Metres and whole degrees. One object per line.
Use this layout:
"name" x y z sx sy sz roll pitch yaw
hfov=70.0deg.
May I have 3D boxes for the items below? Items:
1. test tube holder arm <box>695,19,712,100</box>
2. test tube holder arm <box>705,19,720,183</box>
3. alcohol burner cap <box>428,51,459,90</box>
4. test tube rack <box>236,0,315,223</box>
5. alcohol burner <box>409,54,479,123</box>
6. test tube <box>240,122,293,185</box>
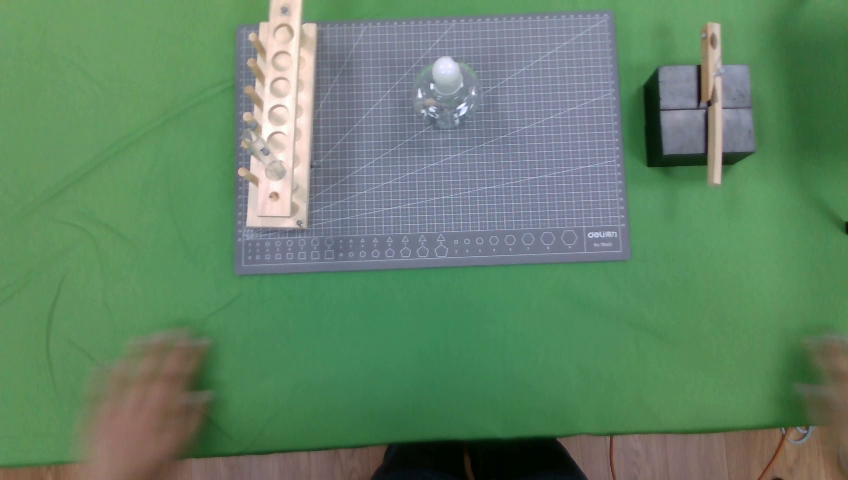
"test tube holder arm" 0.304 -0.195 0.657 0.010 0.015 0.087 1 84 -5
"test tube holder arm" 0.309 -0.151 0.653 0.013 0.015 0.178 0 84 -5
"alcohol burner cap" 0.019 -0.176 0.619 0.034 0.048 0.034 0 88 3
"test tube rack" -0.167 -0.145 0.667 0.067 0.085 0.241 2 83 1
"alcohol burner" 0.021 -0.171 0.655 0.078 0.119 0.077 0 84 2
"test tube" -0.155 -0.082 0.610 0.017 0.151 0.017 0 78 1
